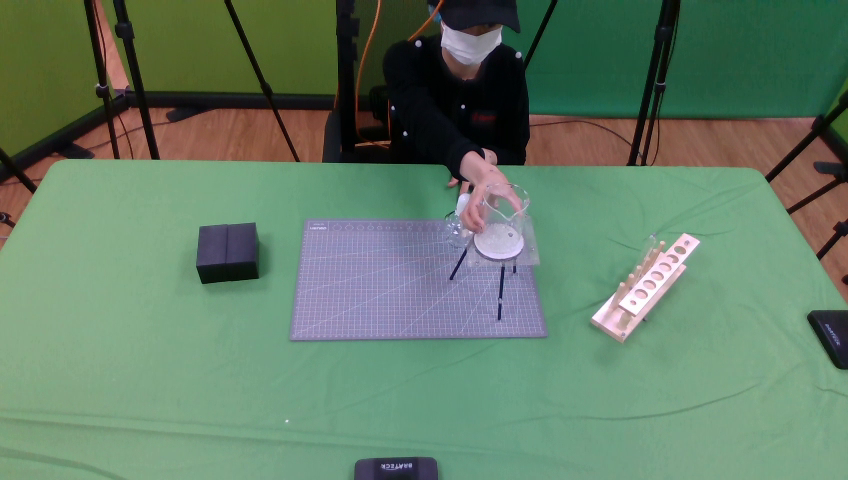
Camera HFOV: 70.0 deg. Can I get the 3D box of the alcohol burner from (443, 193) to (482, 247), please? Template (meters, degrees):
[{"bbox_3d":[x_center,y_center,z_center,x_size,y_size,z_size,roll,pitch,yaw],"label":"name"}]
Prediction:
[{"bbox_3d":[0.075,-0.044,1.177,0.078,0.120,0.077,1,44,-1],"label":"alcohol burner"}]

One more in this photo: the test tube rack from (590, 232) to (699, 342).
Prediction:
[{"bbox_3d":[0.407,0.074,1.112,0.066,0.085,0.242,35,53,26],"label":"test tube rack"}]

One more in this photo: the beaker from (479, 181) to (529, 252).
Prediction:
[{"bbox_3d":[0.130,-0.033,0.997,0.074,0.101,0.083,0,47,-2],"label":"beaker"}]

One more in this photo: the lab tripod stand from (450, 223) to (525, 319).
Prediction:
[{"bbox_3d":[0.120,0.046,1.080,0.148,0.132,0.147,1,47,-1],"label":"lab tripod stand"}]

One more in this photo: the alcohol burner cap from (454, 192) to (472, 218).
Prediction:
[{"bbox_3d":[0.076,-0.069,1.151,0.034,0.048,0.033,3,47,-3],"label":"alcohol burner cap"}]

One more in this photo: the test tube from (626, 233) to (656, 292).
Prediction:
[{"bbox_3d":[0.384,0.042,1.079,0.017,0.151,0.017,1,47,-1],"label":"test tube"}]

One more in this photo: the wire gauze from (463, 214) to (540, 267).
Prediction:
[{"bbox_3d":[0.131,-0.002,1.034,0.121,0.011,0.124,1,45,-3],"label":"wire gauze"}]
